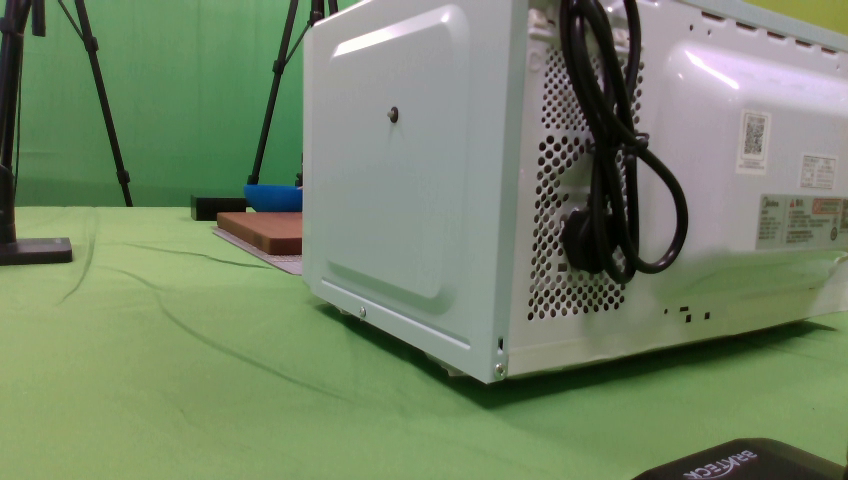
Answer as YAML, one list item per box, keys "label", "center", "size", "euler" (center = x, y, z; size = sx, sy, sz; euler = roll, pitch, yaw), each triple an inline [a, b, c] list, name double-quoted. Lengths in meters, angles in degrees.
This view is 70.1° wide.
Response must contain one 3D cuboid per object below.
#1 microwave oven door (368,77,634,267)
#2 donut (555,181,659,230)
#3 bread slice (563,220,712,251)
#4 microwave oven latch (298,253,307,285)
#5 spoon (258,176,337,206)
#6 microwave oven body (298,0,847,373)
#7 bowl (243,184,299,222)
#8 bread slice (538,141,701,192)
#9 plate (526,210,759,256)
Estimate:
- label: "microwave oven door"
  center: [0.094, -0.099, 0.832]
  size: [0.355, 0.243, 0.039]
  euler: [5, 8, 18]
- label: "donut"
  center: [0.180, -0.033, 0.597]
  size: [0.099, 0.048, 0.099]
  euler: [-2, 7, 1]
- label: "bread slice"
  center: [0.207, -0.006, 0.576]
  size: [0.105, 0.019, 0.131]
  euler: [2, 6, -10]
- label: "microwave oven latch"
  center: [-0.081, 0.027, 0.583]
  size: [0.079, 0.029, 0.030]
  euler: [-1, 7, -32]
- label: "spoon"
  center: [-0.279, -0.112, 1.357]
  size: [0.194, 0.021, 0.041]
  euler: [-28, 19, -27]
- label: "microwave oven body"
  center: [0.151, -0.055, 0.543]
  size: [0.444, 0.260, 0.324]
  euler: [-2, 7, -33]
- label: "bowl"
  center: [-0.321, -0.081, 1.334]
  size: [0.151, 0.077, 0.151]
  euler: [3, 7, 0]
- label: "bread slice"
  center: [0.192, -0.072, 0.580]
  size: [0.107, 0.018, 0.133]
  euler: [-1, 19, -34]
- label: "plate"
  center: [0.203, -0.009, 0.580]
  size: [0.208, 0.039, 0.207]
  euler: [0, 3, 0]
